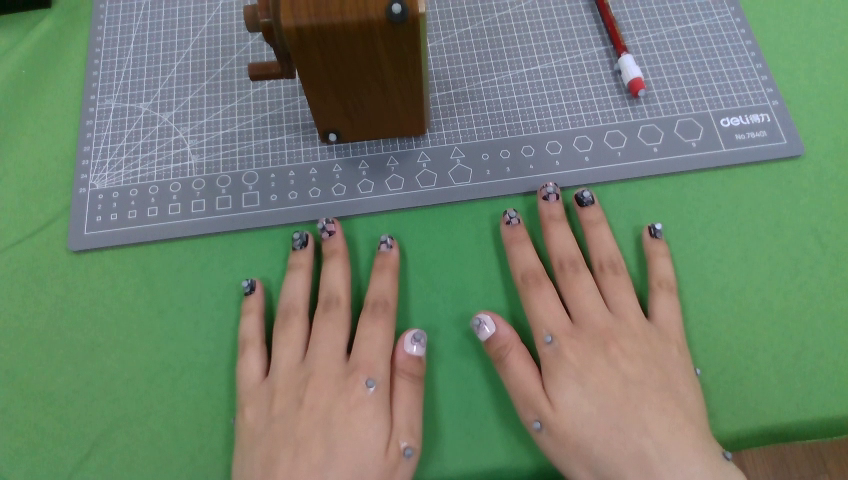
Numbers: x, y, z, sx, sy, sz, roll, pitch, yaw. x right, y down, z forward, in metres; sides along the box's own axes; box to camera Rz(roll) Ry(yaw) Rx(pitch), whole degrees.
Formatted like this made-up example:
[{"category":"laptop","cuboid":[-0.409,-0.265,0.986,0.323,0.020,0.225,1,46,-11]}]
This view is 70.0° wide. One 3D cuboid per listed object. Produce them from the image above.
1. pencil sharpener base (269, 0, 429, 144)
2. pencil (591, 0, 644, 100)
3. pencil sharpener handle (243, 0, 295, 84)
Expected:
[{"category":"pencil sharpener base","cuboid":[-0.038,-0.108,0.345,0.077,0.108,0.061,-6,66,-1]},{"category":"pencil","cuboid":[0.118,-0.177,0.426,0.012,0.012,0.192,-10,66,-4]},{"category":"pencil sharpener handle","cuboid":[-0.090,-0.108,0.333,0.030,0.068,0.035,-6,69,-1]}]
